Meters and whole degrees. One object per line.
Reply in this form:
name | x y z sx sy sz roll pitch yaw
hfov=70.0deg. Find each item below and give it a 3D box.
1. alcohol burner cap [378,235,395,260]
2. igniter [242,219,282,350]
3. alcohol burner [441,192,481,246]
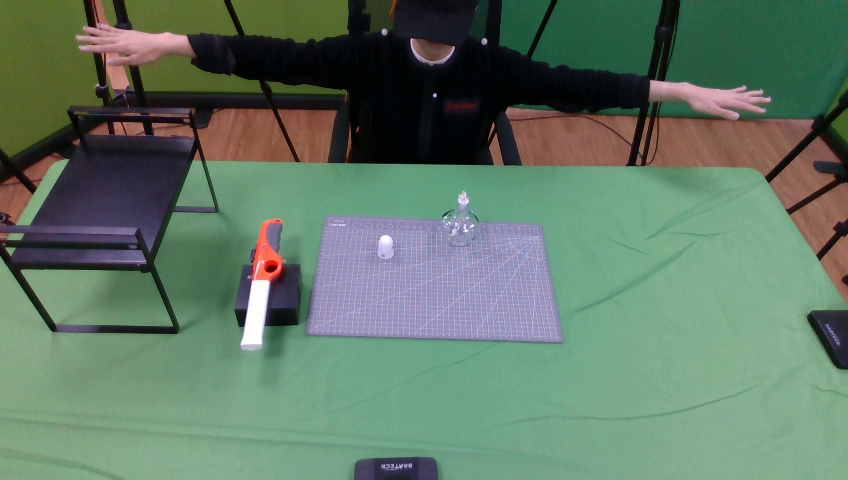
alcohol burner cap | -0.073 0.012 1.160 0.034 0.048 0.033 1 46 0
igniter | -0.277 0.065 1.044 0.057 0.025 0.274 1 48 -6
alcohol burner | 0.073 -0.046 1.176 0.078 0.119 0.077 2 44 -2
